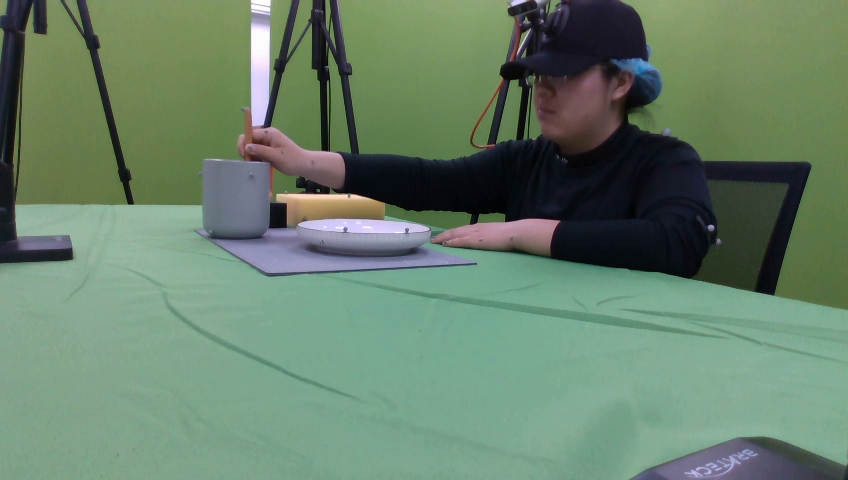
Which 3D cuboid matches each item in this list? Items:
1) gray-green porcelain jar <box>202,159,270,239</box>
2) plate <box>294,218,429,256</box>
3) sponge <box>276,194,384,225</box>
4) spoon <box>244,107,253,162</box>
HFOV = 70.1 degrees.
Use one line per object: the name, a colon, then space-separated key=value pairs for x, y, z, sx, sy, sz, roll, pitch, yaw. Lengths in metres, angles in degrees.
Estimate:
gray-green porcelain jar: x=-0.310 y=-0.068 z=0.999 sx=0.106 sy=0.126 sz=0.106 roll=3 pitch=7 yaw=0
plate: x=-0.096 y=-0.005 z=0.936 sx=0.208 sy=0.039 sz=0.207 roll=3 pitch=7 yaw=0
sponge: x=-0.203 y=-0.066 z=1.311 sx=0.208 sy=0.061 sz=0.117 roll=-2 pitch=8 yaw=-35
spoon: x=-0.291 y=-0.119 z=0.993 sx=0.021 sy=0.193 sz=0.042 roll=17 pitch=13 yaw=43
